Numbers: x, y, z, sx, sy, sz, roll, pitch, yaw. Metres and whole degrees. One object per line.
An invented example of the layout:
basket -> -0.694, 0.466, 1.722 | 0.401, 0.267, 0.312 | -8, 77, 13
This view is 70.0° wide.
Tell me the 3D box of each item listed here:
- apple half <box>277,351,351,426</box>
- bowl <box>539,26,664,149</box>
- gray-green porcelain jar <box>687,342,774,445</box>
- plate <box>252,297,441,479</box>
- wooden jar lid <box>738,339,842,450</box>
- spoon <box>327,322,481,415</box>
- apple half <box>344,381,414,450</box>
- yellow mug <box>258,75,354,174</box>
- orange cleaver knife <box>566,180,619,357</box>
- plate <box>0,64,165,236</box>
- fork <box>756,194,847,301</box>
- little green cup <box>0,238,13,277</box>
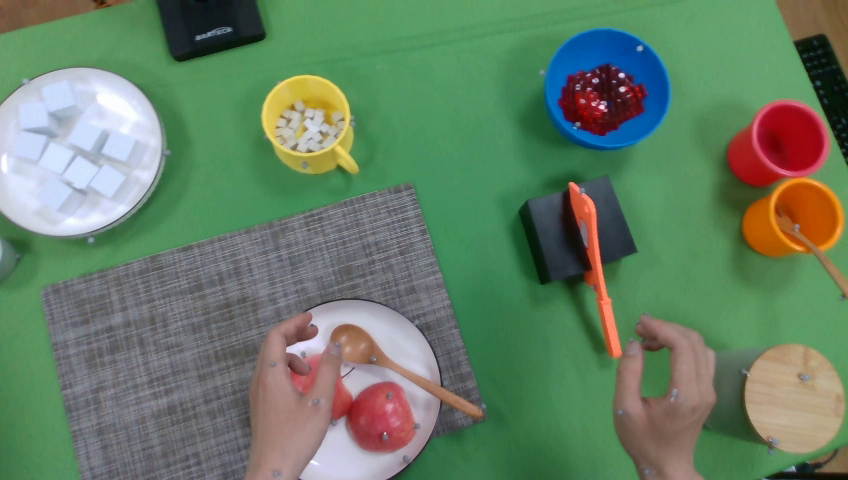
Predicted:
apple half -> -0.124, 0.165, 0.667 | 0.075, 0.053, 0.080 | -20, 82, -5
bowl -> 0.208, -0.176, 0.750 | 0.151, 0.077, 0.151 | 1, 80, -3
gray-green porcelain jar -> 0.364, 0.168, 0.674 | 0.106, 0.127, 0.105 | 1, 79, -3
plate -> -0.086, 0.169, 0.685 | 0.209, 0.038, 0.208 | 1, 80, -4
wooden jar lid -> 0.367, 0.155, 0.613 | 0.108, 0.021, 0.108 | 1, 82, -4
spoon -> -0.023, 0.148, 0.679 | 0.193, 0.022, 0.041 | 27, 74, 13
apple half -> -0.051, 0.198, 0.675 | 0.081, 0.033, 0.081 | 1, 77, -3
yellow mug -> -0.131, -0.127, 0.725 | 0.130, 0.064, 0.100 | 43, 79, 3
orange cleaver knife -> 0.195, 0.034, 0.709 | 0.012, 0.077, 0.212 | -16, 105, -3
plate -> -0.410, -0.104, 0.716 | 0.208, 0.039, 0.207 | 1, 80, -4
fork -> 0.439, 0.008, 0.696 | 0.028, 0.019, 0.205 | 0, 36, -5
little green cup -> -0.503, 0.019, 0.685 | 0.061, 0.039, 0.061 | 1, 80, -5
